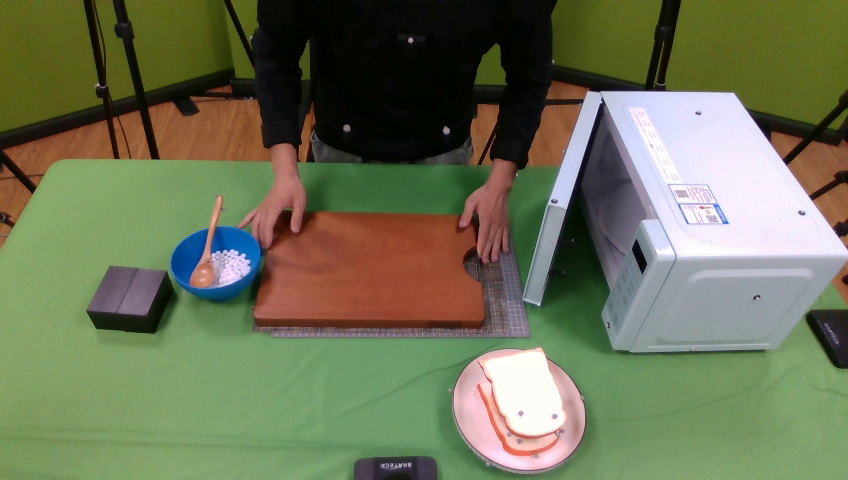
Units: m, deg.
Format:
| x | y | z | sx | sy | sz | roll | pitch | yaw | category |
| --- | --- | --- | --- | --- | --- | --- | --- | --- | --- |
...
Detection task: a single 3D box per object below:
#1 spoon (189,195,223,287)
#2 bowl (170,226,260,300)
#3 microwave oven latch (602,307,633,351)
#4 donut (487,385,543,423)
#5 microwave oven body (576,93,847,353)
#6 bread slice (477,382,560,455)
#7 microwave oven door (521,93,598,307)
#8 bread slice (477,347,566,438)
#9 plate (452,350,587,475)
| x | y | z | sx | sy | sz | roll | pitch | yaw | category |
| --- | --- | --- | --- | --- | --- | --- | --- | --- | --- |
| -0.383 | 0.001 | 1.088 | 0.041 | 0.022 | 0.193 | 1 | 66 | 7 | spoon |
| -0.365 | 0.054 | 1.080 | 0.151 | 0.077 | 0.150 | 3 | 45 | -3 | bowl |
| 0.332 | 0.153 | 1.044 | 0.030 | 0.029 | 0.078 | 0 | 45 | -3 | microwave oven latch |
| 0.146 | 0.242 | 0.928 | 0.099 | 0.048 | 0.098 | -3 | 41 | 3 | donut |
| 0.475 | -0.041 | 1.109 | 0.326 | 0.261 | 0.438 | -1 | 45 | -4 | microwave oven body |
| 0.154 | 0.269 | 0.944 | 0.105 | 0.019 | 0.130 | -10 | 47 | -12 | bread slice |
| 0.258 | -0.084 | 1.127 | 0.039 | 0.245 | 0.354 | 17 | 47 | 12 | microwave oven door |
| 0.151 | 0.227 | 0.902 | 0.107 | 0.018 | 0.133 | -11 | 53 | -16 | bread slice |
| 0.146 | 0.267 | 0.943 | 0.208 | 0.039 | 0.206 | 3 | 46 | -2 | plate |
